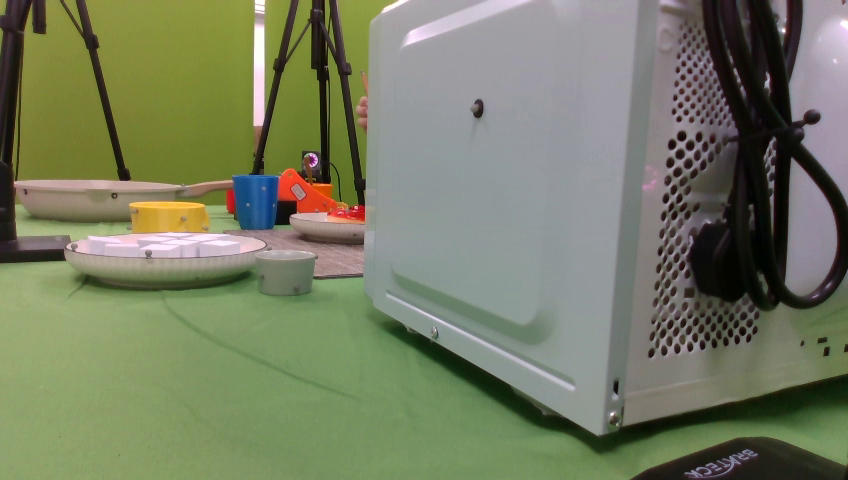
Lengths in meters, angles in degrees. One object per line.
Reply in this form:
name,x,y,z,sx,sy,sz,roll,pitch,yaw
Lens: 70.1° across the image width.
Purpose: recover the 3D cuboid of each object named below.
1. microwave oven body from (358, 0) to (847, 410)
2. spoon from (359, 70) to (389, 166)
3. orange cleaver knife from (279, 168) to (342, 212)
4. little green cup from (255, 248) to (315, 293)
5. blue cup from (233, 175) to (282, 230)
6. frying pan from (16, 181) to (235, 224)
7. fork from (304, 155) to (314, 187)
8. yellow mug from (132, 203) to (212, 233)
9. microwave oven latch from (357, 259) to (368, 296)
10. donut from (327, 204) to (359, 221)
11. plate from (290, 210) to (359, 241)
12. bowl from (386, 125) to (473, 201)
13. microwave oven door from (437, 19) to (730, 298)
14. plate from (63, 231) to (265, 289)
microwave oven body,0.210,-0.051,0.471,0.444,0.260,0.324,-1,7,-28
spoon,-0.089,-0.214,1.053,0.021,0.193,0.042,-17,-19,19
orange cleaver knife,-0.236,-0.084,1.332,0.212,0.077,0.012,31,-9,-31
little green cup,-0.144,0.031,0.627,0.061,0.038,0.061,2,7,0
blue cup,-0.314,-0.071,1.141,0.093,0.100,0.092,0,7,0
frying pan,-0.554,-0.097,1.266,0.490,0.102,0.305,-10,13,-24
fork,-0.268,-0.134,1.446,0.028,0.018,0.207,2,-36,-1
yellow mug,-0.356,-0.020,0.878,0.099,0.064,0.131,4,7,22
microwave oven latch,-0.019,0.031,0.528,0.079,0.029,0.030,-1,7,-25
donut,-0.120,-0.037,1.056,0.099,0.048,0.099,5,7,0
plate,-0.127,-0.026,1.051,0.209,0.038,0.209,3,7,0
bowl,0.019,-0.115,1.002,0.151,0.076,0.151,-17,-17,-5
microwave oven door,0.181,-0.076,0.618,0.358,0.243,0.039,-2,8,-28
plate,-0.288,0.021,0.687,0.208,0.039,0.207,2,8,0
